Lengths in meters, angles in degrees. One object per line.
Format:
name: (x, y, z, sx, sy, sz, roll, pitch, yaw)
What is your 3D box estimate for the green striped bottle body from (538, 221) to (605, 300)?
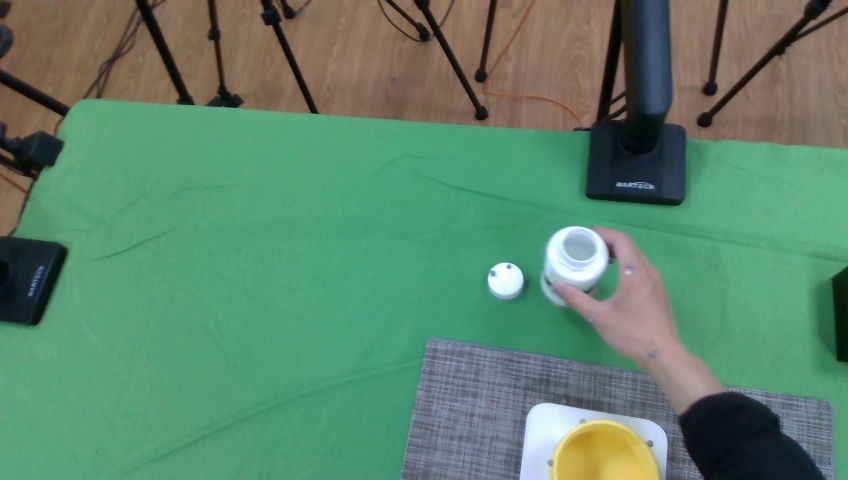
green striped bottle body: (0.159, 0.021, 0.658, 0.063, 0.120, 0.062, -2, 69, 5)

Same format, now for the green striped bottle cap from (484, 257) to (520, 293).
green striped bottle cap: (0.097, 0.043, 0.754, 0.044, 0.020, 0.044, -2, 74, 8)

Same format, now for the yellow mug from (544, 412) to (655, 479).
yellow mug: (0.160, 0.236, 0.602, 0.131, 0.064, 0.099, -40, 69, -7)

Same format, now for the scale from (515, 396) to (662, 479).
scale: (0.169, 0.273, 0.638, 0.148, 0.032, 0.199, 7, 70, 11)
